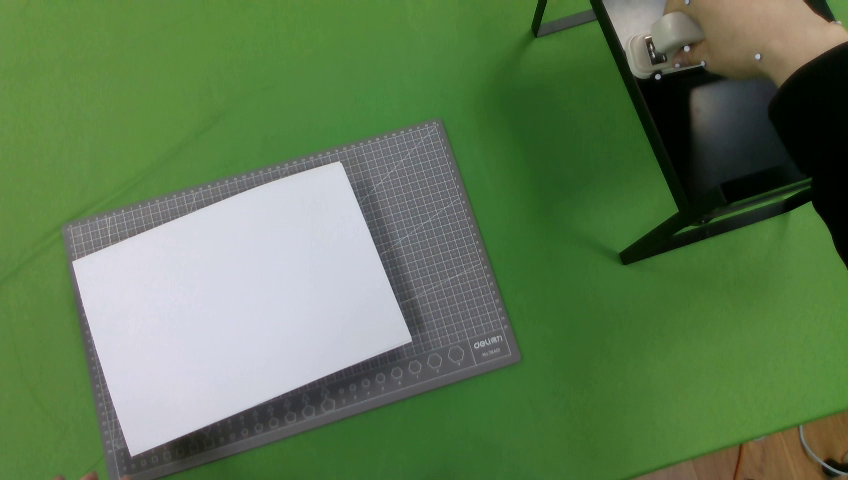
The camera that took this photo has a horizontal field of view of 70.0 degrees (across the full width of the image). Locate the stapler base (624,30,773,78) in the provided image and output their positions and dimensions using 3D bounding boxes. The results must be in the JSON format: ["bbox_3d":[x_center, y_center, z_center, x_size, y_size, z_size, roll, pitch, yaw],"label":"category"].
[{"bbox_3d":[0.241,-0.175,0.523,0.130,0.024,0.041,-14,89,-4],"label":"stapler base"}]

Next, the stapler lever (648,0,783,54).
[{"bbox_3d":[0.243,-0.178,0.499,0.118,0.040,0.027,-14,88,-3],"label":"stapler lever"}]
